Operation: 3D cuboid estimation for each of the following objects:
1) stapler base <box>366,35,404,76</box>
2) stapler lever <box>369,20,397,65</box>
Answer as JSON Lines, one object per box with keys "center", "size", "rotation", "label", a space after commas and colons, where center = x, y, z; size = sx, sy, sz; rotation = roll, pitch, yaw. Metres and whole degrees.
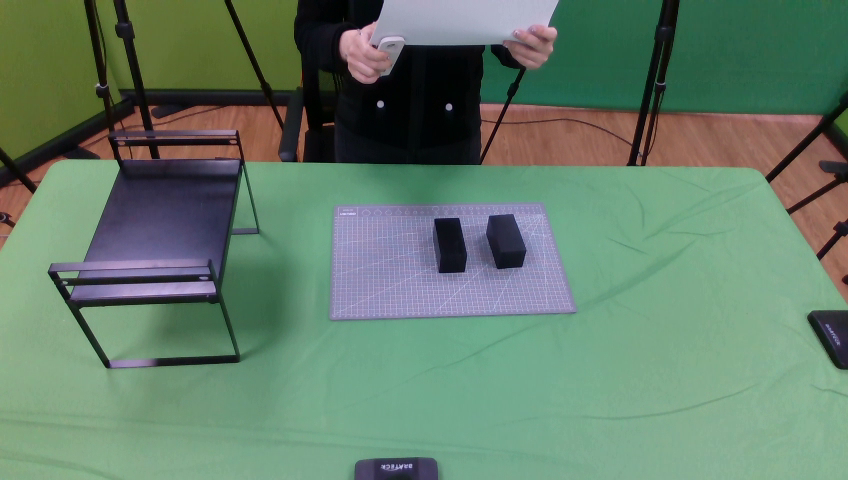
{"center": [-0.067, -0.311, 1.009], "size": [0.041, 0.130, 0.024], "rotation": [-6, 80, -17], "label": "stapler base"}
{"center": [-0.071, -0.328, 1.011], "size": [0.027, 0.118, 0.040], "rotation": [-6, 88, -17], "label": "stapler lever"}
